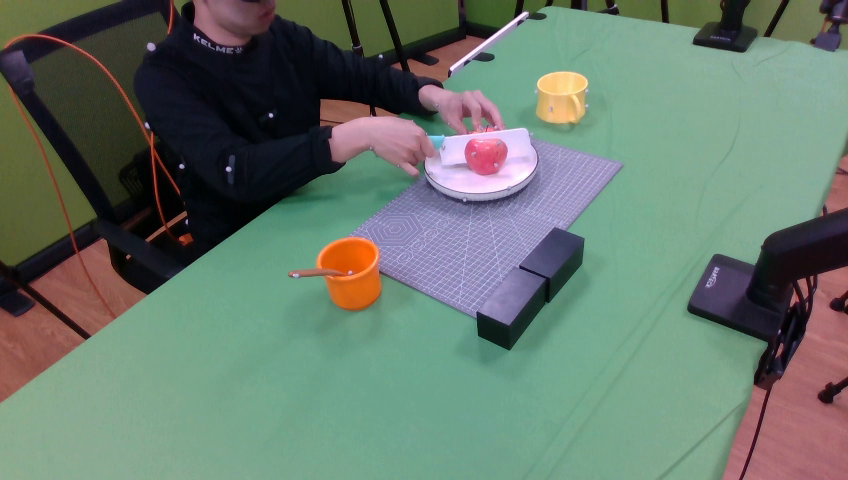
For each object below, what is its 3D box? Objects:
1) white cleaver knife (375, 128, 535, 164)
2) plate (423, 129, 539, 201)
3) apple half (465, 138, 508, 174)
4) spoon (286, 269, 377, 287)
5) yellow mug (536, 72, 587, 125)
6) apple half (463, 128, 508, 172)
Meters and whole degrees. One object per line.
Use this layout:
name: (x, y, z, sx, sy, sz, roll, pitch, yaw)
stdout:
white cleaver knife: (0.050, -0.160, 1.071, 0.286, 0.066, 0.021, -2, 41, 12)
plate: (0.103, -0.132, 1.092, 0.209, 0.038, 0.208, -4, 40, 4)
apple half: (0.109, -0.141, 1.061, 0.081, 0.081, 0.032, -1, 42, 8)
spoon: (-0.125, 0.049, 0.831, 0.041, 0.195, 0.021, 21, 92, 28)
yellow mug: (0.285, -0.281, 1.222, 0.100, 0.064, 0.130, -16, 42, -9)
apple half: (0.109, -0.165, 1.086, 0.081, 0.075, 0.053, -6, 29, 1)
